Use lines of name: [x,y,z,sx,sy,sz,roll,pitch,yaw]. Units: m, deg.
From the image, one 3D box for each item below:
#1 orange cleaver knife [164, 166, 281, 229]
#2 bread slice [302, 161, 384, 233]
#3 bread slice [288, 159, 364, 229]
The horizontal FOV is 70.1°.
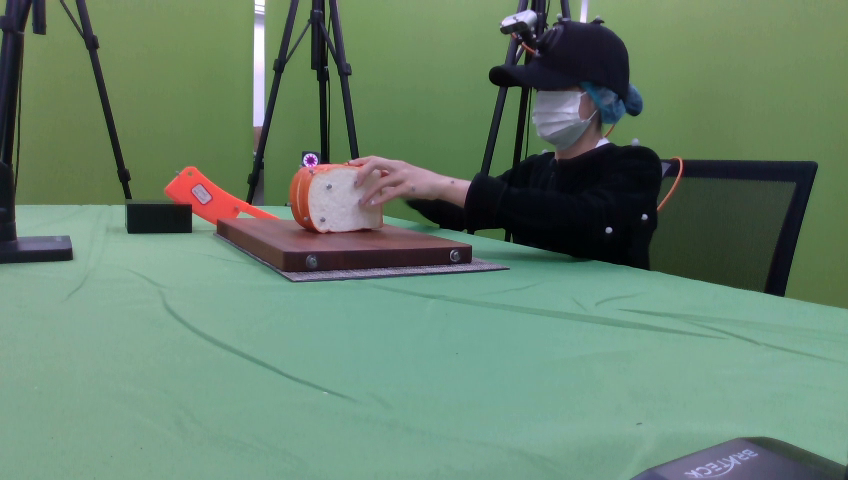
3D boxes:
orange cleaver knife: [-0.369,-0.061,1.121,0.212,0.077,0.012,31,-8,-29]
bread slice: [-0.121,-0.060,0.921,0.135,0.107,0.018,-13,13,-37]
bread slice: [-0.152,-0.071,0.959,0.132,0.105,0.019,-10,14,-34]
